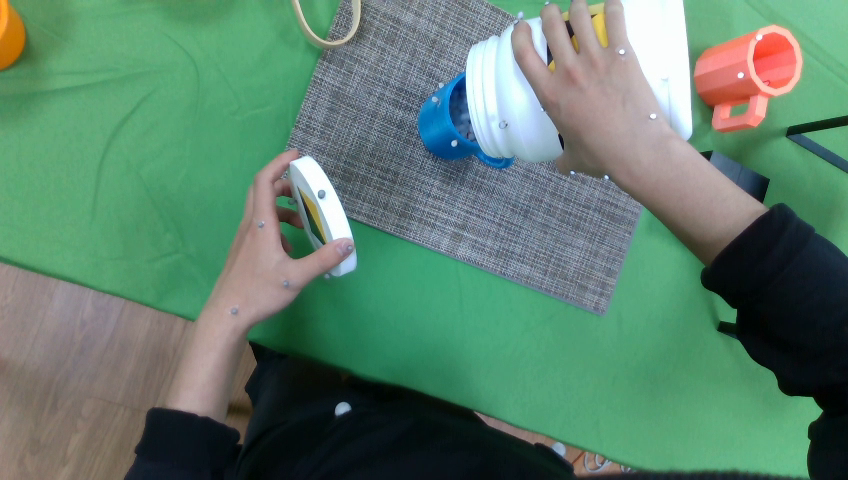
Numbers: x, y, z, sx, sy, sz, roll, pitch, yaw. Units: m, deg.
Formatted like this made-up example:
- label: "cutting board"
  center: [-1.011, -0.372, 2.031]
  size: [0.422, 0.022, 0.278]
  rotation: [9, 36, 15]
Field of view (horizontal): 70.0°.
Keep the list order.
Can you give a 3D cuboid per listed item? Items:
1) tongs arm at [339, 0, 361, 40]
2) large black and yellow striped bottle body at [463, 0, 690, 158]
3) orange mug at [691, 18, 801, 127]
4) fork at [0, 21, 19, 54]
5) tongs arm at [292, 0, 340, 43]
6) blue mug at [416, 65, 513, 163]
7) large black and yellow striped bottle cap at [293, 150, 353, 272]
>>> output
- label: "tongs arm"
  center: [-0.087, -0.414, 0.643]
  size: [0.028, 0.027, 0.388]
  rotation: [-6, 101, -24]
- label: "large black and yellow striped bottle body"
  center: [0.139, -0.146, 0.553]
  size: [0.183, 0.131, 0.131]
  rotation: [-5, 94, 23]
- label: "orange mug"
  center: [0.414, -0.213, 0.789]
  size: [0.084, 0.100, 0.126]
  rotation: [11, 85, -16]
- label: "fork"
  center: [-0.443, -0.229, 0.503]
  size: [0.028, 0.018, 0.209]
  rotation: [-58, 148, -8]
- label: "tongs arm"
  center: [-0.165, -0.395, 0.617]
  size: [0.051, 0.026, 0.386]
  rotation: [-20, 105, -18]
- label: "blue mug"
  center: [0.054, -0.131, 0.677]
  size: [0.082, 0.105, 0.117]
  rotation: [-45, 103, -11]
- label: "large black and yellow striped bottle cap"
  center: [-0.095, -0.026, 0.562]
  size: [0.019, 0.114, 0.115]
  rotation: [-20, 97, -19]
